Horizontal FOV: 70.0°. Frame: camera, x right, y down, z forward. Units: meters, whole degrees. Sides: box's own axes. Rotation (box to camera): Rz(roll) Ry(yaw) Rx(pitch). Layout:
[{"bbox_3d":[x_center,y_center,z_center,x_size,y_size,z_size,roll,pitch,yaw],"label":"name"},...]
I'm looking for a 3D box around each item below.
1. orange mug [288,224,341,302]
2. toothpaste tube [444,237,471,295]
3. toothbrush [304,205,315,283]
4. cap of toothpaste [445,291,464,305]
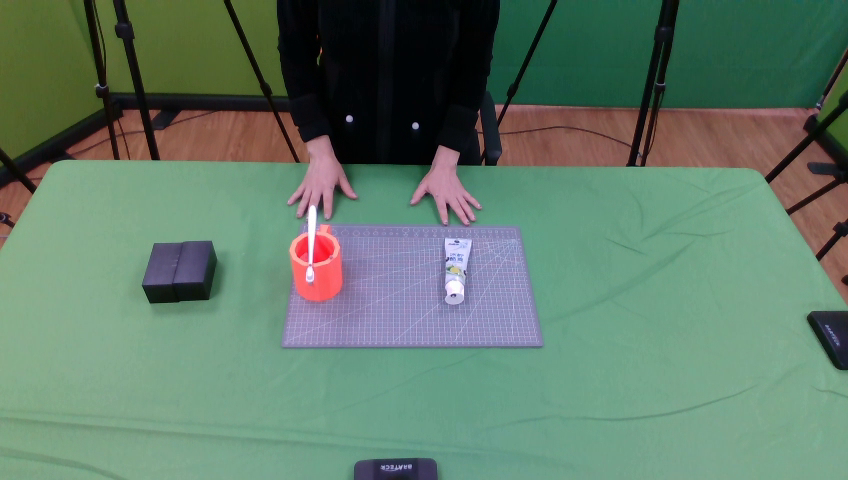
[{"bbox_3d":[-0.192,0.034,1.094,0.083,0.101,0.125,7,50,2],"label":"orange mug"},{"bbox_3d":[0.061,0.049,1.149,0.055,0.034,0.164,9,42,-3],"label":"toothpaste tube"},{"bbox_3d":[-0.199,0.001,1.052,0.014,0.017,0.180,-4,46,-4],"label":"toothbrush"},{"bbox_3d":[0.054,0.103,1.088,0.037,0.037,0.011,-4,48,-7],"label":"cap of toothpaste"}]
